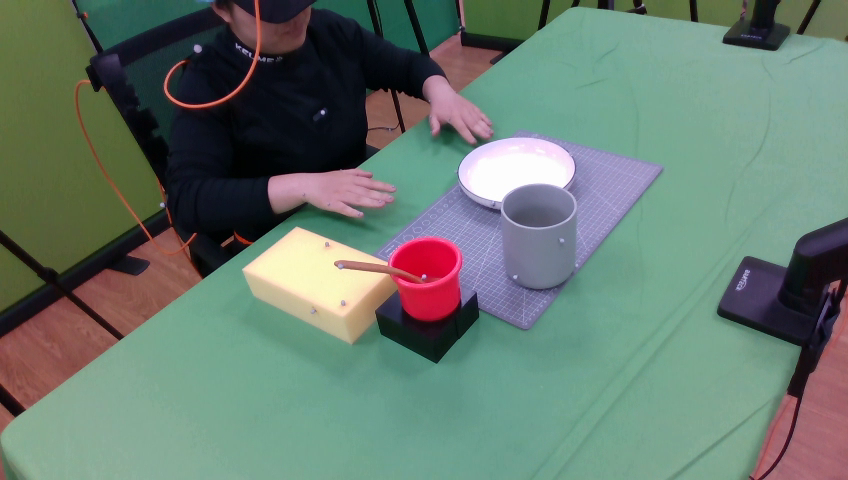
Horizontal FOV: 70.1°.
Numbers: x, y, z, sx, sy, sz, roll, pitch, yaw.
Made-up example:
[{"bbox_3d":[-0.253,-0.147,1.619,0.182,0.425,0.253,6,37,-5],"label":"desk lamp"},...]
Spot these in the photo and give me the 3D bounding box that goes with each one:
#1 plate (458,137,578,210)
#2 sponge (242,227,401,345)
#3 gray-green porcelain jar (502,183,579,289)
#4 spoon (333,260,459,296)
[{"bbox_3d":[0.165,-0.113,1.068,0.207,0.039,0.206,-5,40,5],"label":"plate"},{"bbox_3d":[-0.154,0.063,0.907,0.205,0.061,0.118,19,48,29],"label":"sponge"},{"bbox_3d":[0.166,-0.001,0.866,0.106,0.127,0.105,-5,40,5],"label":"gray-green porcelain jar"},{"bbox_3d":[-0.031,0.045,0.762,0.195,0.021,0.041,19,20,-39],"label":"spoon"}]
